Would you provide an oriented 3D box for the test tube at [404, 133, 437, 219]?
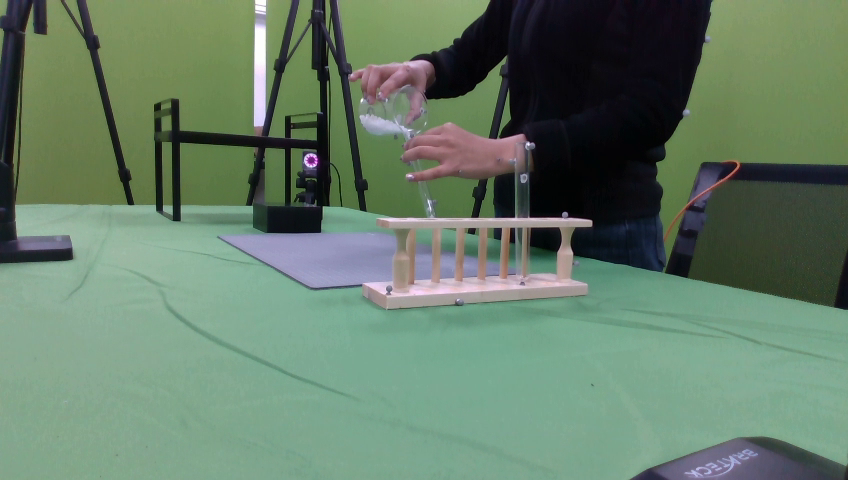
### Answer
[{"bbox_3d":[-0.006,-0.095,0.902,0.017,0.150,0.017,-13,-23,-5],"label":"test tube"}]

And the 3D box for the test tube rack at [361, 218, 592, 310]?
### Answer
[{"bbox_3d":[0.059,0.018,0.640,0.243,0.085,0.066,-1,8,-27],"label":"test tube rack"}]

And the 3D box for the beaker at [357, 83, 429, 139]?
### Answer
[{"bbox_3d":[-0.053,-0.202,0.961,0.074,0.084,0.100,-1,6,-41],"label":"beaker"}]

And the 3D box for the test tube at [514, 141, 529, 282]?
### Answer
[{"bbox_3d":[0.103,-0.028,0.636,0.017,0.150,0.017,-2,12,1],"label":"test tube"}]
